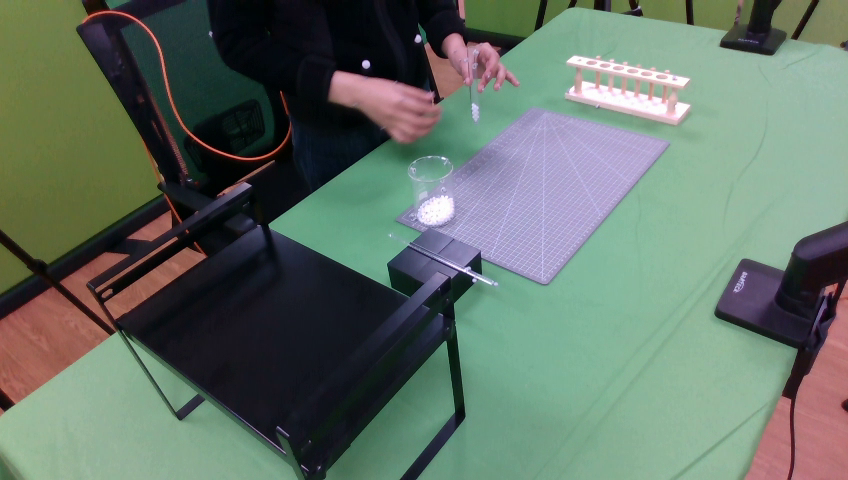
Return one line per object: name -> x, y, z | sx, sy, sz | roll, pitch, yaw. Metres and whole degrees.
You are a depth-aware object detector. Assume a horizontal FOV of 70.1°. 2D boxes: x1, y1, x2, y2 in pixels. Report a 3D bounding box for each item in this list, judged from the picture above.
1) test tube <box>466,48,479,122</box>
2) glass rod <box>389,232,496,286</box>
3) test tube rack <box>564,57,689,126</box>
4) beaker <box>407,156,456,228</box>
test tube -> 0.087, -0.271, 1.071 | 0.017, 0.151, 0.017 | -4, 48, 5
glass rod -> 0.022, 0.025, 0.878 | 0.198, 0.008, 0.008 | 25, 50, 33
test tube rack -> 0.411, -0.311, 1.230 | 0.240, 0.085, 0.067 | 23, 49, 32
beaker -> 0.016, -0.079, 1.002 | 0.073, 0.101, 0.084 | 26, 49, 33
